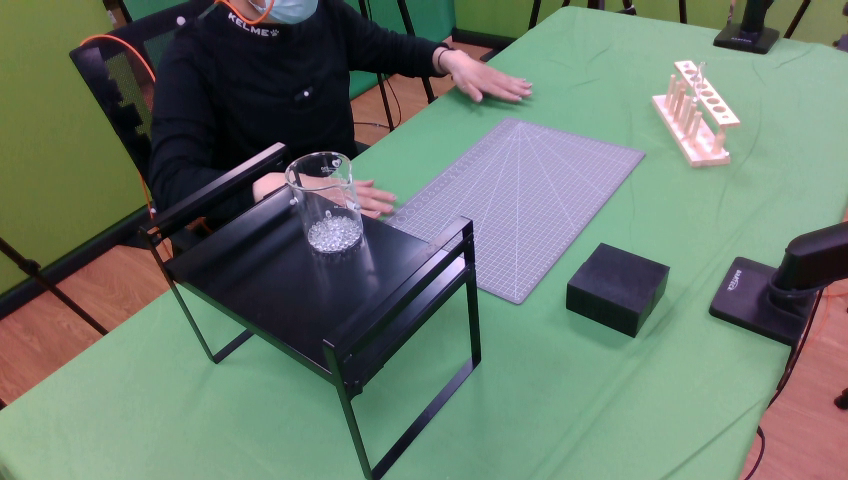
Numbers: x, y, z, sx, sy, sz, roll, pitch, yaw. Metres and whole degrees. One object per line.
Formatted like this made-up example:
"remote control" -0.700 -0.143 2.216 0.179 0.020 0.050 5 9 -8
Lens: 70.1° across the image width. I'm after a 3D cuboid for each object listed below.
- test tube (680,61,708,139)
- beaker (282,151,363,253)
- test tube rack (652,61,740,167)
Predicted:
"test tube" 0.476 -0.245 1.068 0.017 0.151 0.017 -3 42 3
"beaker" -0.110 -0.041 0.697 0.083 0.101 0.074 18 47 26
"test tube rack" 0.499 -0.242 1.130 0.067 0.085 0.241 -5 41 3
